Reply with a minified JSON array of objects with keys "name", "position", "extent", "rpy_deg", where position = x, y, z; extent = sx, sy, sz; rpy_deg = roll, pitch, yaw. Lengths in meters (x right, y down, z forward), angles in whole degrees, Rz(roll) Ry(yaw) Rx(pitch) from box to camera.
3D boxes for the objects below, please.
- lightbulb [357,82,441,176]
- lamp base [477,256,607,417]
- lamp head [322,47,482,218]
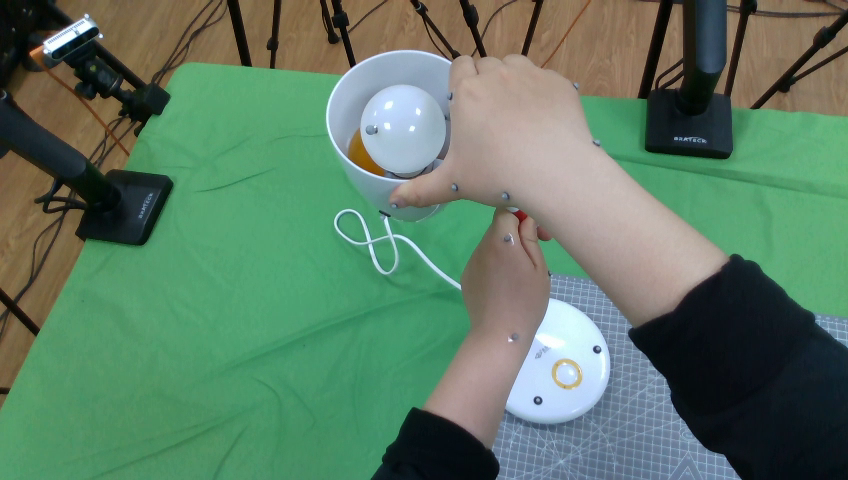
[{"name":"lightbulb","position":[-0.015,-0.071,0.446],"extent":[0.059,0.108,0.059],"rpy_deg":[-2,67,5]},{"name":"lamp base","position":[0.127,0.097,0.692],"extent":[0.178,0.182,0.160],"rpy_deg":[33,70,24]},{"name":"lamp head","position":[-0.010,-0.068,0.471],"extent":[0.112,0.124,0.111],"rpy_deg":[-3,65,6]}]
